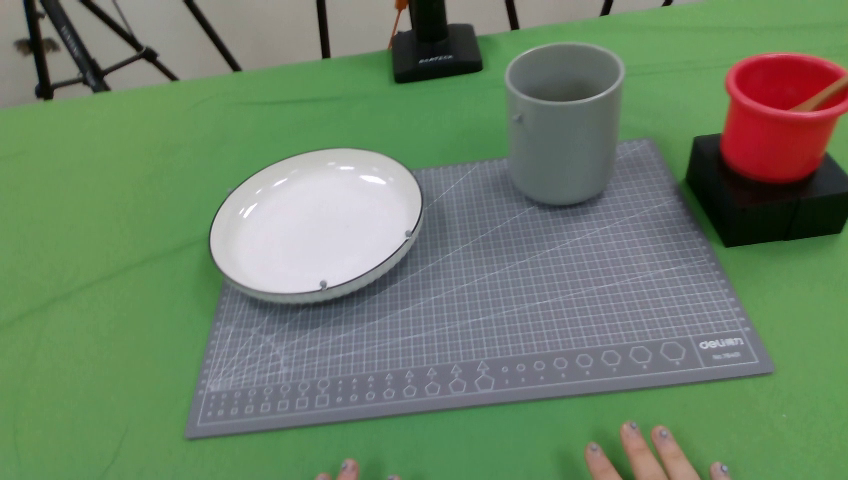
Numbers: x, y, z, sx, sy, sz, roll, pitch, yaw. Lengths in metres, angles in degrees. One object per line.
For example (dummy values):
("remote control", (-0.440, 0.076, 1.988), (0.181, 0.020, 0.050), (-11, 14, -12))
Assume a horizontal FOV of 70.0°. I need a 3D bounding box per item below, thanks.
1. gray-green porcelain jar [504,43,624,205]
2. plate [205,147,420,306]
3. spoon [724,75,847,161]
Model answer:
("gray-green porcelain jar", (0.131, -0.105, 0.580), (0.106, 0.128, 0.105), (-5, 45, 5))
("plate", (-0.105, -0.013, 0.593), (0.207, 0.039, 0.205), (-5, 45, 5))
("spoon", (0.333, -0.120, 0.479), (0.022, 0.194, 0.041), (31, 44, -24))
